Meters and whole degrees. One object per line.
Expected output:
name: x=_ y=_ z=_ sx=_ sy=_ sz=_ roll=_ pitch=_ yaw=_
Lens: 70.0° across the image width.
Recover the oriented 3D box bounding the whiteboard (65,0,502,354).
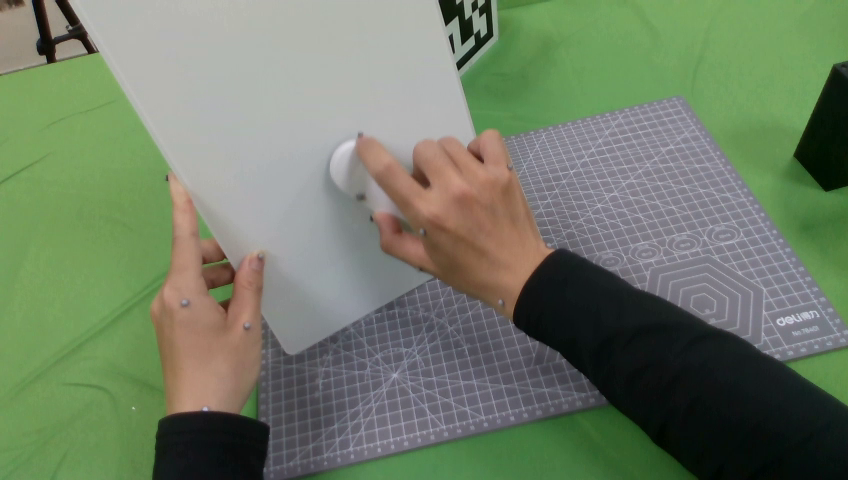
whiteboard: x=-0.095 y=-0.104 z=0.492 sx=0.217 sy=0.308 sz=0.142 roll=-29 pitch=34 yaw=-11

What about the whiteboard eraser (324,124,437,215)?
whiteboard eraser: x=-0.031 y=-0.053 z=0.463 sx=0.041 sy=0.102 sz=0.018 roll=-55 pitch=37 yaw=8
